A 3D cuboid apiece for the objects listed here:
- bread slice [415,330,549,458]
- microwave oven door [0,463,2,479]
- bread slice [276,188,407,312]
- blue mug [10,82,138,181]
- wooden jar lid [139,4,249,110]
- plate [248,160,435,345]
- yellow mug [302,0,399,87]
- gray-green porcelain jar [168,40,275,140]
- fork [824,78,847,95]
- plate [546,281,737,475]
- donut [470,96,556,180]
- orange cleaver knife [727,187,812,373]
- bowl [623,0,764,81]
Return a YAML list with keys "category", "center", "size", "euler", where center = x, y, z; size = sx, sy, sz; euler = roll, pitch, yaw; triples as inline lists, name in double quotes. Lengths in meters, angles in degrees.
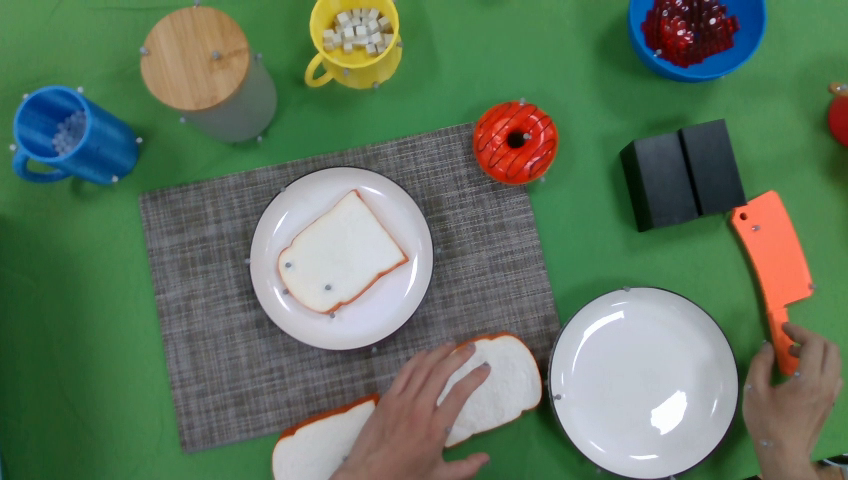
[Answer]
- category: "bread slice"
  center: [0.070, 0.158, 0.651]
  size: [0.134, 0.018, 0.106]
  euler: [-18, 81, -21]
- category: "microwave oven door"
  center: [-0.493, 0.192, 0.557]
  size: [0.039, 0.244, 0.354]
  euler: [-10, 84, 0]
- category: "bread slice"
  center: [-0.100, 0.018, 0.691]
  size: [0.131, 0.019, 0.104]
  euler: [-38, 84, -4]
- category: "blue mug"
  center: [-0.396, -0.107, 0.673]
  size: [0.116, 0.106, 0.082]
  euler: [-38, 84, -3]
- category: "wooden jar lid"
  center: [-0.228, -0.181, 0.607]
  size: [0.108, 0.021, 0.108]
  euler: [0, 82, 1]
- category: "plate"
  center: [-0.091, 0.014, 0.689]
  size: [0.208, 0.039, 0.207]
  euler: [0, 84, 1]
- category: "yellow mug"
  center: [-0.091, -0.227, 0.703]
  size: [0.131, 0.064, 0.100]
  euler: [-44, 85, -3]
- category: "gray-green porcelain jar"
  center: [-0.227, -0.173, 0.668]
  size: [0.106, 0.127, 0.105]
  euler: [0, 83, 1]
- category: "fork"
  center: [0.472, -0.153, 0.652]
  size: [0.209, 0.018, 0.028]
  euler: [-1, 82, -41]
- category: "plate"
  center: [0.238, 0.151, 0.677]
  size: [0.209, 0.038, 0.208]
  euler: [0, 84, 0]
- category: "donut"
  center: [0.102, -0.117, 0.698]
  size: [0.099, 0.048, 0.099]
  euler: [0, 85, 0]
- category: "orange cleaver knife"
  center: [0.407, 0.043, 0.696]
  size: [0.077, 0.012, 0.210]
  euler: [-11, 83, -7]
- category: "bowl"
  center: [0.295, -0.246, 0.696]
  size: [0.151, 0.077, 0.151]
  euler: [0, 84, 1]
